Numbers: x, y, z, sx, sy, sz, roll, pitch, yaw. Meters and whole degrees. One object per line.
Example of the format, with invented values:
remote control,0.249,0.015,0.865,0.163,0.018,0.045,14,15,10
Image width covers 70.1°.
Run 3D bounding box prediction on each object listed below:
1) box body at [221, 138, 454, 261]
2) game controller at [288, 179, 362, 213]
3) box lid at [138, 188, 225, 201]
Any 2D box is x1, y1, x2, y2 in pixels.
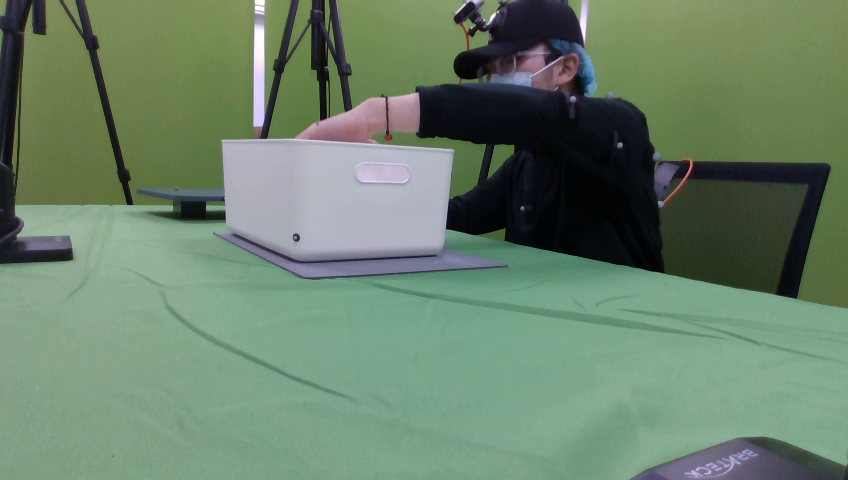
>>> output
box body,-0.152,-0.074,0.963,0.255,0.160,0.362,-3,9,-33
game controller,-0.158,-0.069,0.943,0.097,0.051,0.154,-5,6,-17
box lid,-0.433,-0.105,1.395,0.374,0.015,0.262,-5,10,-44
